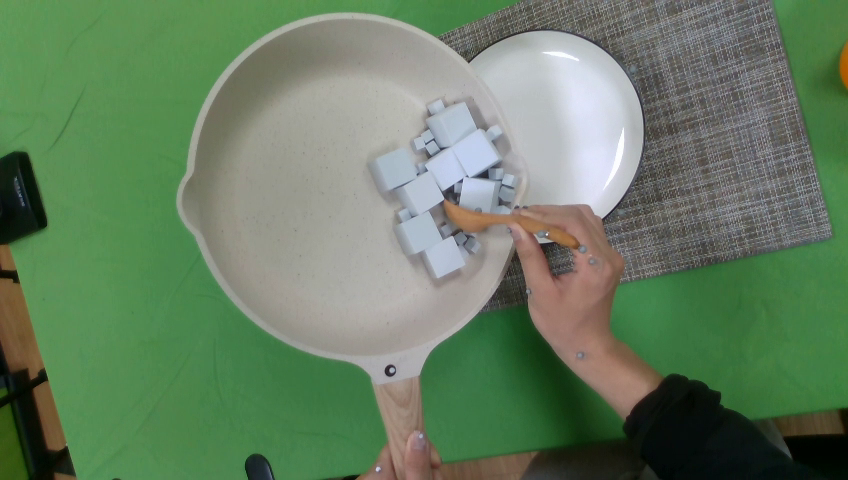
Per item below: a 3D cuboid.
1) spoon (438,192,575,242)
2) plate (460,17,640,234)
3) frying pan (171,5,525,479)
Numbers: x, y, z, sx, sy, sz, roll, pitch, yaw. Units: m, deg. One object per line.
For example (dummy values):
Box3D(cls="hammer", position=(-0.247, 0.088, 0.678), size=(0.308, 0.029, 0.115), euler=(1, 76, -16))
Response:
Box3D(cls="spoon", position=(0.061, -0.021, 0.505), size=(0.021, 0.192, 0.042), euler=(-48, 115, -15))
Box3D(cls="plate", position=(0.107, -0.110, 0.604), size=(0.207, 0.039, 0.208), euler=(3, 98, 21))
Box3D(cls="frying pan", position=(-0.040, 0.053, 0.524), size=(0.102, 0.308, 0.486), euler=(159, 102, -67))
